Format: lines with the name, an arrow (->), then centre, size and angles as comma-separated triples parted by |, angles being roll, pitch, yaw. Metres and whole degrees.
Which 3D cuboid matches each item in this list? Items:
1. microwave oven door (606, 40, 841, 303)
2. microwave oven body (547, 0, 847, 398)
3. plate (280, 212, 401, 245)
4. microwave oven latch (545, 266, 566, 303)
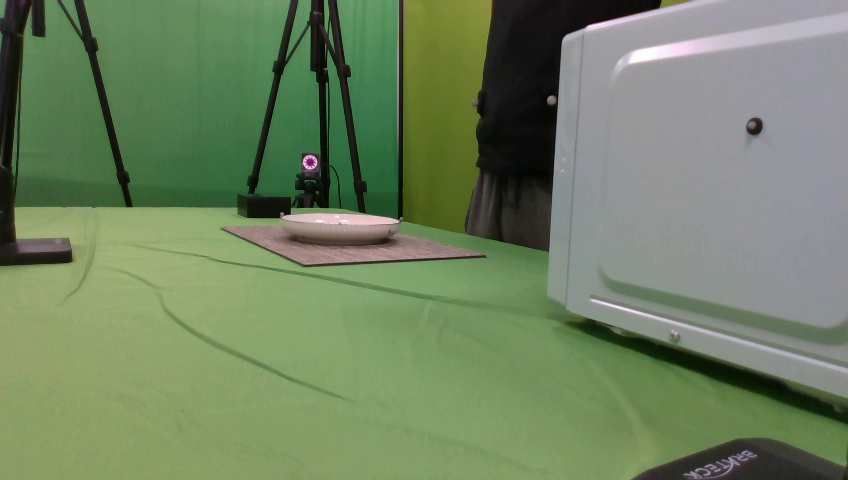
microwave oven door -> 0.341, -0.070, 0.654 | 0.358, 0.243, 0.039 | -3, 9, -31
microwave oven body -> 0.378, -0.045, 0.509 | 0.444, 0.260, 0.324 | -2, 8, -31
plate -> -0.146, -0.021, 1.057 | 0.209, 0.038, 0.209 | 2, 8, 0
microwave oven latch -> 0.147, 0.038, 0.555 | 0.079, 0.029, 0.030 | -2, 7, -29
